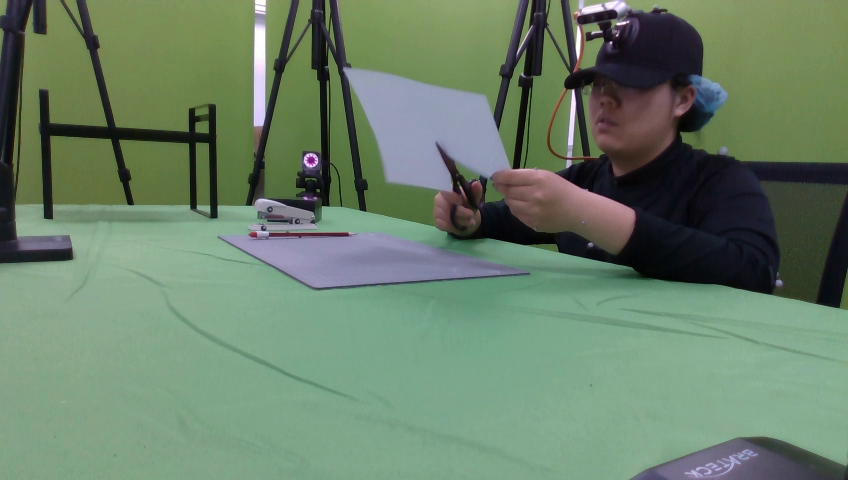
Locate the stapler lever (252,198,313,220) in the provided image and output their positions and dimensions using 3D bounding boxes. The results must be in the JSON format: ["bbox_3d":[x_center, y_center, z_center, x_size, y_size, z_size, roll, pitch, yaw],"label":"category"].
[{"bbox_3d":[-0.273,-0.058,1.170,0.119,0.040,0.026,0,10,-37],"label":"stapler lever"}]

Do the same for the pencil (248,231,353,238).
[{"bbox_3d":[-0.206,-0.009,1.039,0.195,0.012,0.012,0,8,-36],"label":"pencil"}]

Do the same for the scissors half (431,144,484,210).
[{"bbox_3d":[0.054,-0.101,0.962,0.012,0.040,0.176,21,-12,40],"label":"scissors half"}]

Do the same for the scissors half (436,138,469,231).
[{"bbox_3d":[0.042,-0.084,0.954,0.013,0.175,0.040,15,46,37],"label":"scissors half"}]

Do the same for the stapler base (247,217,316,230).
[{"bbox_3d":[-0.276,-0.033,1.172,0.131,0.024,0.041,0,10,-37],"label":"stapler base"}]
